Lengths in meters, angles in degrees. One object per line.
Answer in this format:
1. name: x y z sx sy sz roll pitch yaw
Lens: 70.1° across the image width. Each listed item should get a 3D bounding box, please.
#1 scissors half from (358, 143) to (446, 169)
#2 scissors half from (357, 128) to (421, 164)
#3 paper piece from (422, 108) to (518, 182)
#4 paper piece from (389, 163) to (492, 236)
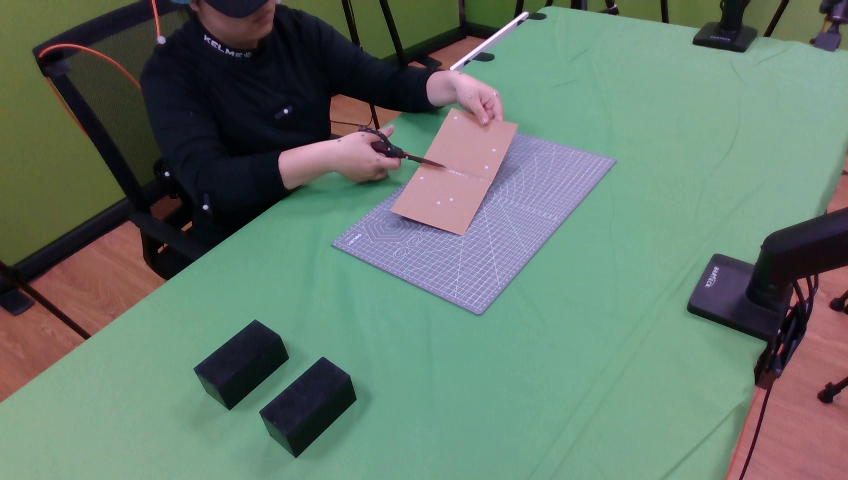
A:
1. scissors half: -0.041 -0.147 1.103 0.174 0.040 0.013 13 54 21
2. scissors half: -0.041 -0.160 1.085 0.175 0.040 0.013 26 62 0
3. paper piece: 0.085 -0.175 1.099 0.135 0.009 0.138 22 63 11
4. paper piece: 0.031 -0.074 1.032 0.135 0.004 0.135 19 53 15
